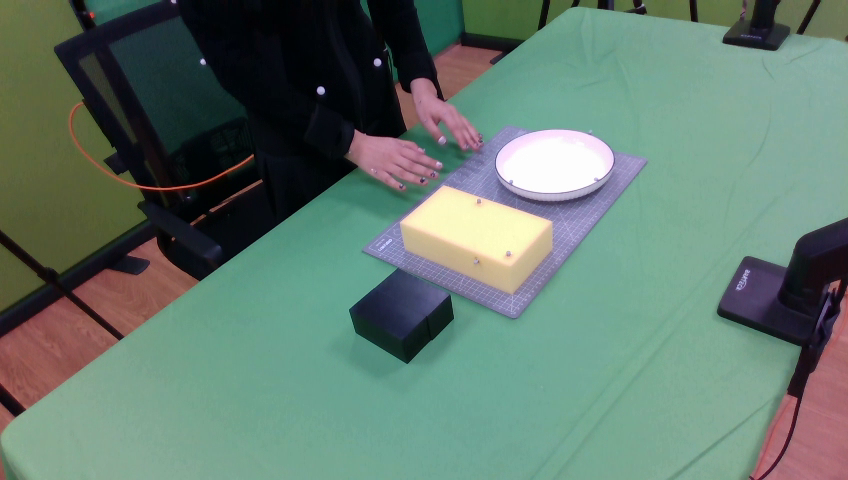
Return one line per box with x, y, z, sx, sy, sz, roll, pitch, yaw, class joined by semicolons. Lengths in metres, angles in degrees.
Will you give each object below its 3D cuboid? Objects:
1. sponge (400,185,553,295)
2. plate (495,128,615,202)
0.081;-0.005;0.940;0.205;0.061;0.118;21;49;31;sponge
0.231;-0.130;1.077;0.209;0.038;0.208;-5;40;5;plate
